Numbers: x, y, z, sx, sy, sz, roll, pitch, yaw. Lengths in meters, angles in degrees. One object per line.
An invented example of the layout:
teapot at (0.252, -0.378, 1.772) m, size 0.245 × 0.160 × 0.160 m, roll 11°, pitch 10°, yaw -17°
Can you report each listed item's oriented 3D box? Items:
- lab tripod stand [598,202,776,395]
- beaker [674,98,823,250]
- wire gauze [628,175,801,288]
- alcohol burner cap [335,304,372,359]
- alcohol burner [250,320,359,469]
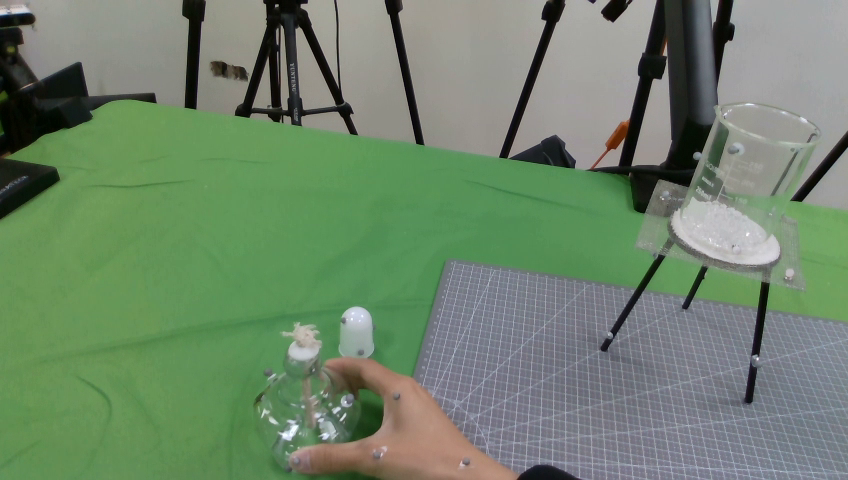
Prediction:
lab tripod stand at (0.242, 0.046, 0.534) m, size 0.148 × 0.132 × 0.147 m, roll 5°, pitch 35°, yaw -3°
beaker at (0.242, -0.051, 0.471) m, size 0.074 × 0.101 × 0.083 m, roll -15°, pitch 41°, yaw -27°
wire gauze at (0.240, -0.010, 0.498) m, size 0.121 × 0.011 × 0.124 m, roll 18°, pitch 39°, yaw 18°
alcohol burner cap at (-0.062, 0.079, 0.537) m, size 0.034 × 0.048 × 0.033 m, roll 3°, pitch 35°, yaw -2°
alcohol burner at (-0.086, 0.106, 0.431) m, size 0.078 × 0.120 × 0.077 m, roll 2°, pitch 34°, yaw -1°
